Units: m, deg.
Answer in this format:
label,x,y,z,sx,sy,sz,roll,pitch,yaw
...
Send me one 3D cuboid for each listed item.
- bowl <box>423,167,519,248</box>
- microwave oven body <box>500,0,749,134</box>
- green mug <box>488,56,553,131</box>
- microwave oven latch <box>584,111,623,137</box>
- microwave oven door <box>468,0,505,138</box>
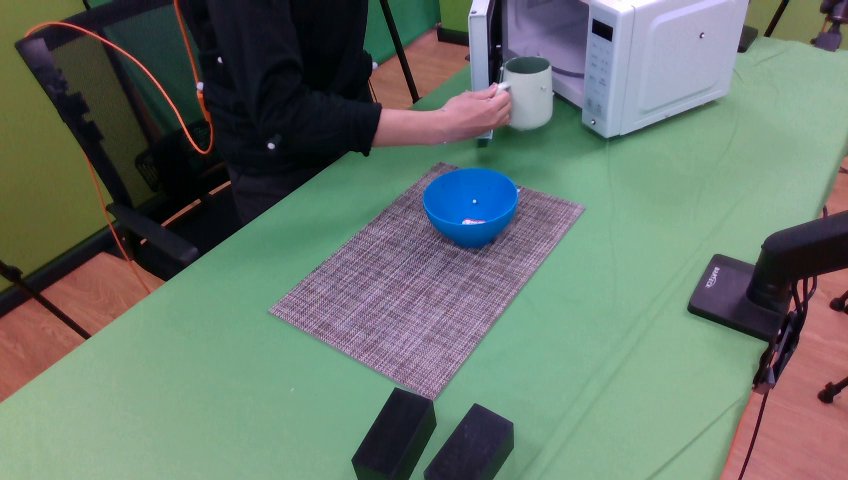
label,x,y,z,sx,sy,sz,roll,pitch,yaw
bowl,0.075,-0.041,0.958,0.151,0.077,0.150,-4,40,4
microwave oven body,0.382,-0.445,1.246,0.327,0.261,0.437,-22,42,-16
green mug,0.165,-0.247,1.047,0.126,0.105,0.091,-27,44,-22
microwave oven latch,0.337,-0.222,1.142,0.030,0.029,0.078,-21,42,-14
microwave oven door,0.132,-0.404,1.225,0.039,0.245,0.354,0,41,11
